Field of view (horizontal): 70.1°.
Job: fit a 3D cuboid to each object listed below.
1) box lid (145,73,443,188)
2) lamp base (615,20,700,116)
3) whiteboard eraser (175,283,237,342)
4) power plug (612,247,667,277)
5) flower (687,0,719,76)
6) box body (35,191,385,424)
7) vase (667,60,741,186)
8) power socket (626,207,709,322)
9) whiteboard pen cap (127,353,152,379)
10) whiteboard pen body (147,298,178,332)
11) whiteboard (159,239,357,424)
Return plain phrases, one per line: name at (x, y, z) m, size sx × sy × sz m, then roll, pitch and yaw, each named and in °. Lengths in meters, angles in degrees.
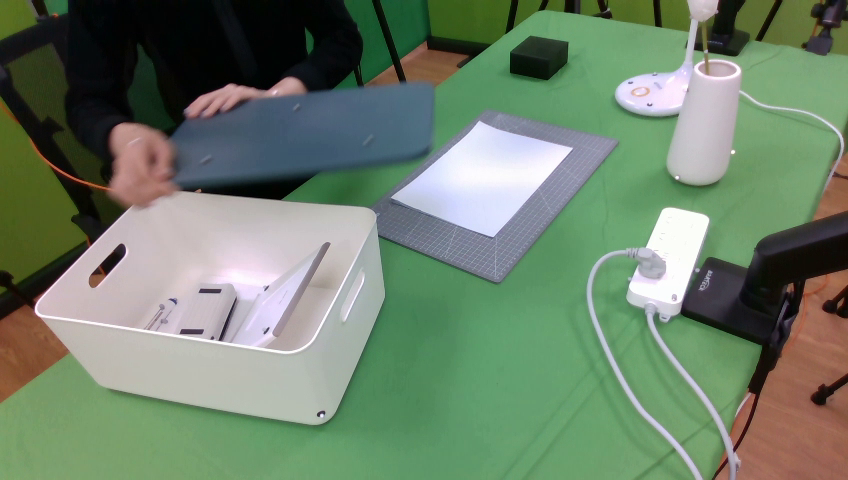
box lid at (-0.158, -0.155, 0.817) m, size 0.371 × 0.015 × 0.262 m, roll -7°, pitch 33°, yaw 4°
lamp base at (0.484, -0.364, 1.211) m, size 0.180 × 0.181 × 0.159 m, roll -15°, pitch 41°, yaw -14°
whiteboard eraser at (-0.296, 0.109, 0.823) m, size 0.055 × 0.042 × 0.112 m, roll 3°, pitch 42°, yaw 2°
power plug at (0.306, 0.031, 0.852) m, size 0.072 × 0.053 × 0.035 m, roll 21°, pitch 48°, yaw 38°
flower at (0.436, -0.242, 0.934) m, size 0.038 × 0.364 × 0.043 m, roll -25°, pitch 49°, yaw 8°
box body at (-0.254, 0.082, 0.807) m, size 0.363 × 0.161 × 0.253 m, roll 5°, pitch 42°, yaw 14°
vase at (0.463, -0.189, 0.994) m, size 0.098 × 0.201 × 0.097 m, roll -4°, pitch 40°, yaw 3°
power socket at (0.360, 0.026, 0.886) m, size 0.072 × 0.033 × 0.227 m, roll 17°, pitch 46°, yaw 27°
whiteboard pen cap at (-0.384, 0.171, 0.820) m, size 0.018 × 0.018 × 0.033 m, roll 8°, pitch 42°, yaw 16°
whiteboard pen body at (-0.396, 0.139, 0.869) m, size 0.017 × 0.017 × 0.140 m, roll 7°, pitch 44°, yaw 15°
whiteboard at (-0.242, 0.093, 0.809) m, size 0.304 × 0.144 × 0.216 m, roll 5°, pitch 44°, yaw 13°
